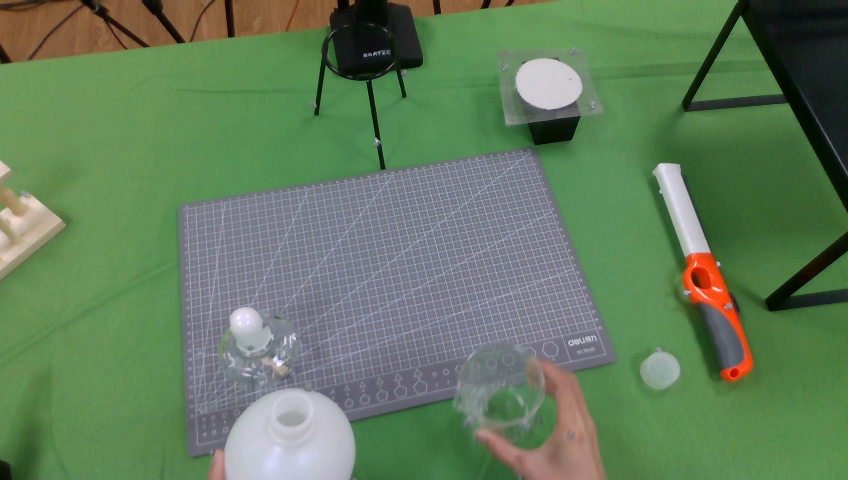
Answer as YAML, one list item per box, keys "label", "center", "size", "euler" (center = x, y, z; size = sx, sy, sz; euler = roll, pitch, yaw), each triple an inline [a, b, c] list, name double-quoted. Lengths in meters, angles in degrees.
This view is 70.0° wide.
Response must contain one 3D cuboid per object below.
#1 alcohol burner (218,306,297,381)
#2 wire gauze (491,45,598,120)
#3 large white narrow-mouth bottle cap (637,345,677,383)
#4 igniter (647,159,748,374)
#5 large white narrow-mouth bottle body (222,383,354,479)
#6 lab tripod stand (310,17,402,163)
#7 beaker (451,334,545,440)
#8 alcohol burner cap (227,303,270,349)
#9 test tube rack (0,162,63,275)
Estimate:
- label: "alcohol burner"
  center: [-0.166, 0.095, 0.593]
  size: [0.078, 0.120, 0.077]
  euler: [2, 59, -3]
- label: "wire gauze"
  center: [0.151, -0.207, 0.777]
  size: [0.121, 0.011, 0.124]
  euler: [-4, 61, -4]
- label: "large white narrow-mouth bottle cap"
  center: [0.247, 0.132, 0.646]
  size: [0.038, 0.024, 0.037]
  euler: [1, 61, -1]
- label: "igniter"
  center: [0.314, 0.021, 0.704]
  size: [0.057, 0.025, 0.274]
  euler: [0, 61, -14]
- label: "large white narrow-mouth bottle body"
  center: [-0.108, 0.174, 0.484]
  size: [0.102, 0.196, 0.101]
  euler: [7, 49, -7]
- label: "lab tripod stand"
  center: [-0.076, -0.188, 0.743]
  size: [0.148, 0.132, 0.147]
  euler: [2, 62, -3]
- label: "beaker"
  center: [0.066, 0.142, 0.561]
  size: [0.084, 0.101, 0.073]
  euler: [-23, 61, -8]
- label: "alcohol burner cap"
  center: [-0.165, 0.078, 0.561]
  size: [0.034, 0.048, 0.033]
  euler: [-1, 56, 1]
- label: "test tube rack"
  center: [-0.521, 0.025, 0.636]
  size: [0.066, 0.086, 0.241]
  euler: [34, 65, 15]
